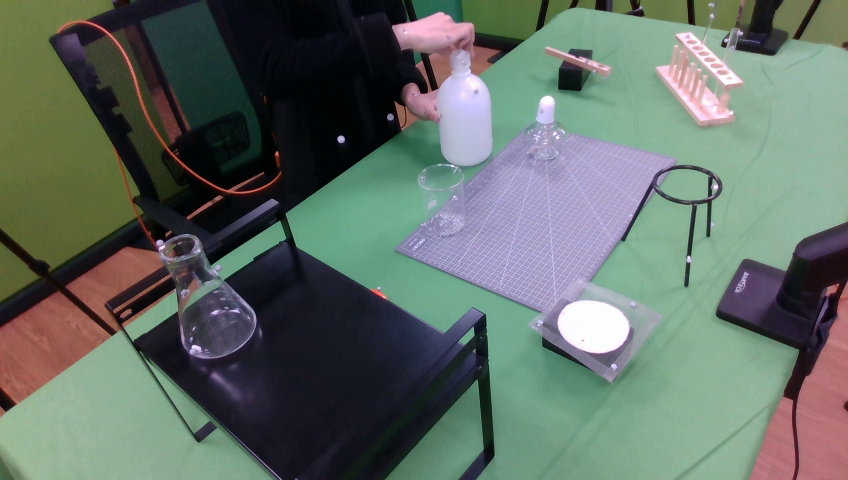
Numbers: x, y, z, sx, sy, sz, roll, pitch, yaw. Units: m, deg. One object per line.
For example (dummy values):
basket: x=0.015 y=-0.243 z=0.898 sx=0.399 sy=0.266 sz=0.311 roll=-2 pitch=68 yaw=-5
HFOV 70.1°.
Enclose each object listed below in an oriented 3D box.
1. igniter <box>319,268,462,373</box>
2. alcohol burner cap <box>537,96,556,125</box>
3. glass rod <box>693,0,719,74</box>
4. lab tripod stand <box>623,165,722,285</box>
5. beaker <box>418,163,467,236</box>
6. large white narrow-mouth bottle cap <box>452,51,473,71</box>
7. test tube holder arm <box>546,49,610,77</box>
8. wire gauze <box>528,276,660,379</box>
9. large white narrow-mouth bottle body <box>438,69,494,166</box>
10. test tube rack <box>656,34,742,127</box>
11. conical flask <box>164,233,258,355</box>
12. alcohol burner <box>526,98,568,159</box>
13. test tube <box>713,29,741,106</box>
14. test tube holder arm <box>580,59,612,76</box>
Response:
igniter: x=-0.059 y=0.107 z=0.862 sx=0.274 sy=0.025 sz=0.057 roll=28 pitch=62 yaw=34
alcohol burner cap: x=0.223 y=-0.237 z=1.095 sx=0.034 sy=0.048 sz=0.033 roll=-1 pitch=42 yaw=1
glass rod: x=0.560 y=-0.401 z=1.214 sx=0.008 sy=0.200 sz=0.008 roll=-1 pitch=48 yaw=2
lab tripod stand: x=0.365 y=-0.030 z=0.875 sx=0.148 sy=0.132 sz=0.147 roll=-6 pitch=41 yaw=6
beaker: x=0.035 y=-0.065 z=0.990 sx=0.073 sy=0.101 sz=0.084 roll=24 pitch=49 yaw=32
large white narrow-mouth bottle cap: x=0.067 y=-0.314 z=1.059 sx=0.038 sy=0.024 sz=0.037 roll=-4 pitch=40 yaw=4
test tube holder arm: x=0.332 y=-0.387 z=1.315 sx=0.013 sy=0.015 sz=0.177 roll=-26 pitch=42 yaw=-27
wire gauze: x=0.213 y=0.103 z=0.763 sx=0.124 sy=0.011 sz=0.122 roll=30 pitch=52 yaw=35
large white narrow-mouth bottle body: x=0.077 y=-0.242 z=1.122 sx=0.102 sy=0.195 sz=0.101 roll=-4 pitch=40 yaw=4
test tube rack: x=0.553 y=-0.331 z=1.233 sx=0.067 sy=0.085 sz=0.241 roll=-7 pitch=40 yaw=2
conical flask: x=-0.217 y=0.051 z=0.601 sx=0.075 sy=0.122 sz=0.075 roll=-4 pitch=40 yaw=4
alcohol burner: x=0.228 y=-0.210 z=1.118 sx=0.078 sy=0.119 sz=0.077 roll=-5 pitch=43 yaw=5
test tube: x=0.572 y=-0.324 z=1.146 sx=0.017 sy=0.151 sz=0.017 roll=-3 pitch=39 yaw=3
test tube holder arm: x=0.363 y=-0.369 z=1.288 sx=0.010 sy=0.015 sz=0.087 roll=-28 pitch=43 yaw=-29
